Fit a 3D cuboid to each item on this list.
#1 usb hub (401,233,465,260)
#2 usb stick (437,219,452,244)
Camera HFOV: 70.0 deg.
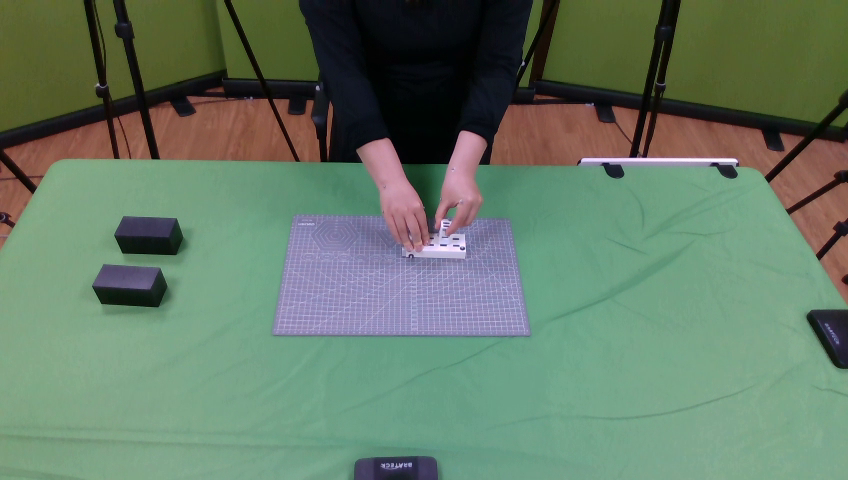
[{"bbox_3d":[0.018,0.012,1.182,0.125,0.025,0.049,2,47,-2],"label":"usb hub"},{"bbox_3d":[0.038,-0.010,1.163,0.021,0.059,0.027,2,49,-8],"label":"usb stick"}]
